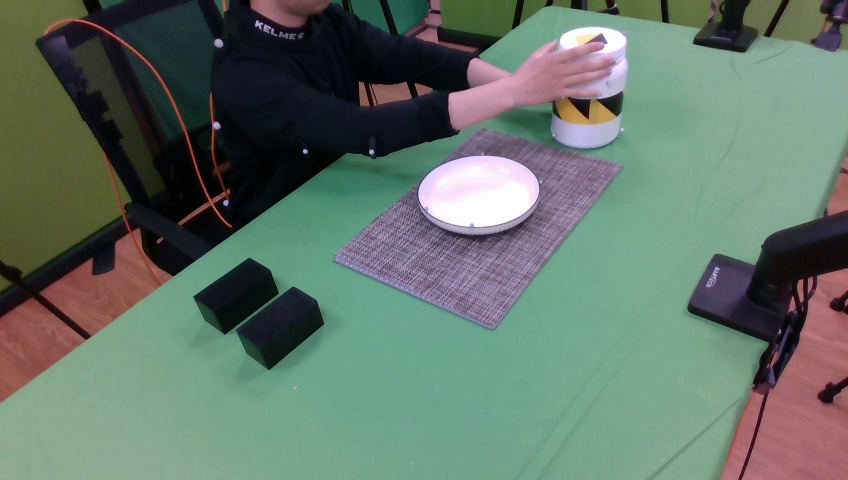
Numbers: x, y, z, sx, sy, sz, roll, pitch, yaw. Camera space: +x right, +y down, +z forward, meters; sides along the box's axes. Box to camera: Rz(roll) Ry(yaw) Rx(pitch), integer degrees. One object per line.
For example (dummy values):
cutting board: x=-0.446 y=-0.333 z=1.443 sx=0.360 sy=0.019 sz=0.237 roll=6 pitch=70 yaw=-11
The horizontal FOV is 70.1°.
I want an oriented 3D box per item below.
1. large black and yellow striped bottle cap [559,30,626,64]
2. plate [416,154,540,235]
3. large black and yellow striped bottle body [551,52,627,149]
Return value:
large black and yellow striped bottle cap: x=0.296 y=-0.342 z=1.068 sx=0.115 sy=0.019 sz=0.114 roll=-4 pitch=39 yaw=4
plate: x=0.091 y=-0.074 z=1.025 sx=0.207 sy=0.039 sz=0.206 roll=-4 pitch=41 yaw=4
large black and yellow striped bottle body: x=0.305 y=-0.278 z=1.125 sx=0.131 sy=0.185 sz=0.130 roll=-4 pitch=41 yaw=4
